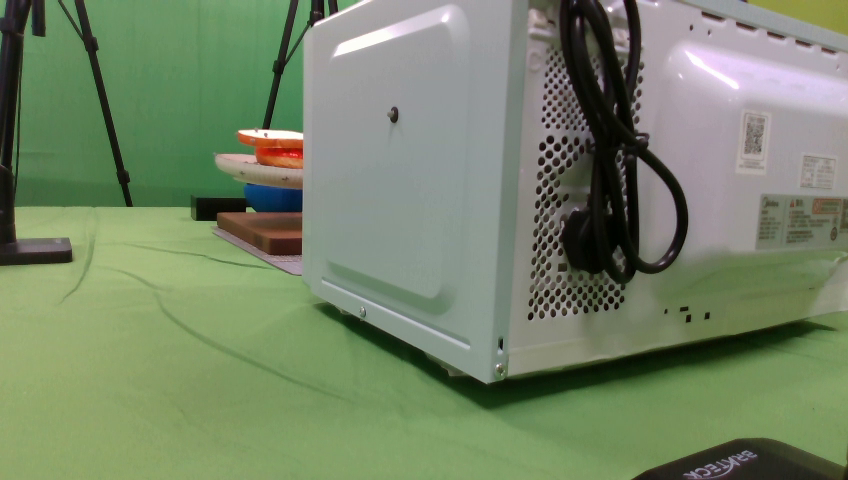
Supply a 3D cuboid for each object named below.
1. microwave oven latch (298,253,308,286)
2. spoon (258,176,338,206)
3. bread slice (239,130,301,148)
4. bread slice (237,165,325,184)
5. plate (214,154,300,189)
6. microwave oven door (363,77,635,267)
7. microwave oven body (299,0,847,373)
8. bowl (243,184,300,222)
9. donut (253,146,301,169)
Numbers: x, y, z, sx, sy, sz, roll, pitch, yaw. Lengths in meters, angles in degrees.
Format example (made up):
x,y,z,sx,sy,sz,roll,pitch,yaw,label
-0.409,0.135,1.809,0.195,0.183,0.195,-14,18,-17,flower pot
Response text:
x,y,z,sx,sy,sz,roll,pitch,yaw,label
-0.081,0.027,0.582,0.079,0.029,0.030,-1,7,-32,microwave oven latch
-0.279,-0.112,1.357,0.194,0.021,0.041,-27,19,-27,spoon
-0.247,-0.174,1.039,0.106,0.018,0.135,16,18,35,bread slice
-0.251,-0.114,1.044,0.104,0.019,0.132,13,9,40,bread slice
-0.255,-0.118,1.051,0.208,0.039,0.207,7,10,-1,plate
0.091,-0.098,0.823,0.355,0.243,0.039,4,8,15,microwave oven door
0.152,-0.055,0.542,0.444,0.260,0.324,-2,7,-33,microwave oven body
-0.321,-0.081,1.334,0.151,0.077,0.151,3,7,0,bowl
-0.245,-0.145,1.049,0.099,0.048,0.099,9,12,-2,donut
